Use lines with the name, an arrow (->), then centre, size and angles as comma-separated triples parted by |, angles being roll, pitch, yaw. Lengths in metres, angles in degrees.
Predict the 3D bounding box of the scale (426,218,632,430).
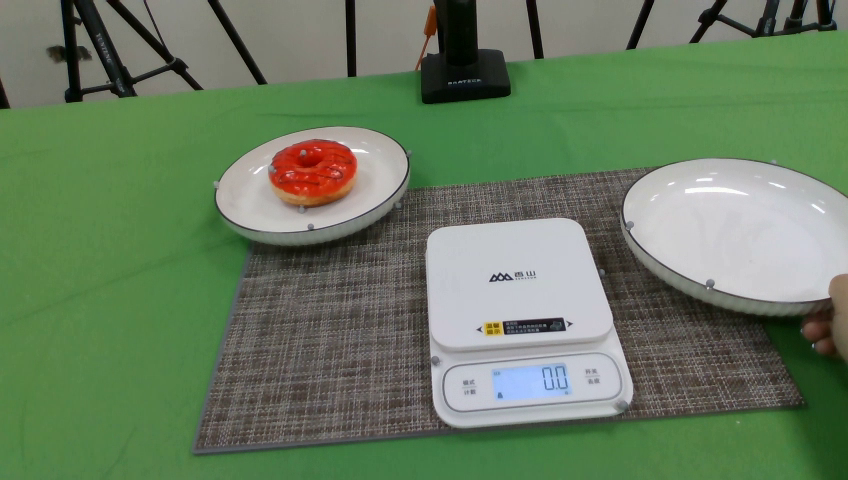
scale -> 0.077, 0.059, 0.505 | 0.148, 0.032, 0.199 | -5, 42, 3

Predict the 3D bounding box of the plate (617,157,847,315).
plate -> 0.277, -0.005, 0.539 | 0.207, 0.039, 0.205 | -3, 39, 2

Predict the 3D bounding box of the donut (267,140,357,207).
donut -> -0.121, -0.072, 0.660 | 0.099, 0.049, 0.098 | -3, 40, 3

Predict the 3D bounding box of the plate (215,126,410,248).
plate -> -0.118, -0.057, 0.659 | 0.209, 0.038, 0.207 | -4, 40, 4
